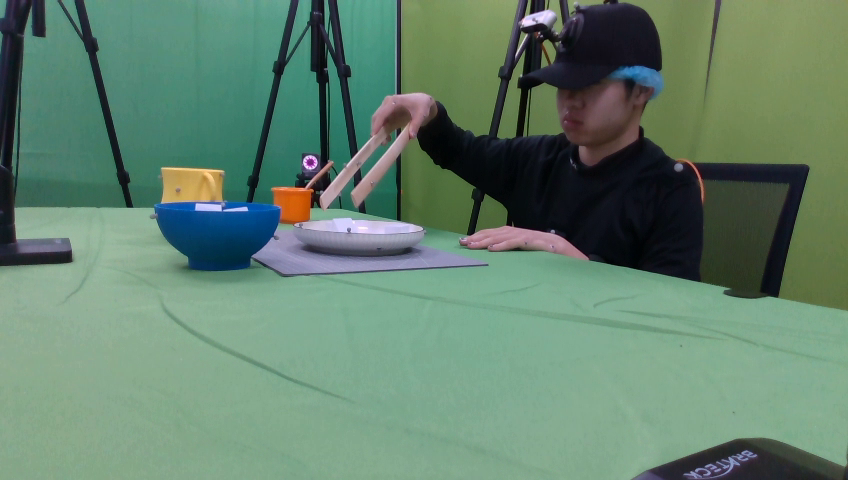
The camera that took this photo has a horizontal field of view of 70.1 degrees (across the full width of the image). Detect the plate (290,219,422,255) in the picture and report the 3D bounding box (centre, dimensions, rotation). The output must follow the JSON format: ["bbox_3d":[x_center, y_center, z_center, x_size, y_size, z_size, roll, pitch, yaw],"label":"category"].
[{"bbox_3d":[-0.108,-0.005,0.963,0.208,0.039,0.207,3,7,0],"label":"plate"}]

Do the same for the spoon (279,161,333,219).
[{"bbox_3d":[-0.262,-0.115,1.359,0.041,0.194,0.022,11,-33,39],"label":"spoon"}]

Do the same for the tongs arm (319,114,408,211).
[{"bbox_3d":[-0.097,-0.152,1.091,0.050,0.026,0.385,-5,28,17],"label":"tongs arm"}]

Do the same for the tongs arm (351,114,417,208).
[{"bbox_3d":[-0.065,-0.154,1.080,0.028,0.028,0.387,-8,27,19],"label":"tongs arm"}]

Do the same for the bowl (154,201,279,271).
[{"bbox_3d":[-0.261,-0.005,0.770,0.151,0.077,0.151,3,8,0],"label":"bowl"}]

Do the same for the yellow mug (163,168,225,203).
[{"bbox_3d":[-0.383,-0.087,1.026,0.130,0.064,0.100,11,11,44],"label":"yellow mug"}]
